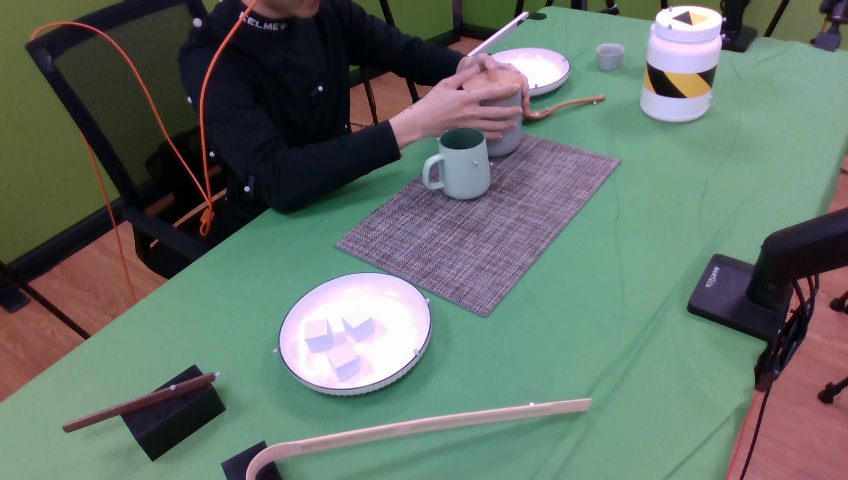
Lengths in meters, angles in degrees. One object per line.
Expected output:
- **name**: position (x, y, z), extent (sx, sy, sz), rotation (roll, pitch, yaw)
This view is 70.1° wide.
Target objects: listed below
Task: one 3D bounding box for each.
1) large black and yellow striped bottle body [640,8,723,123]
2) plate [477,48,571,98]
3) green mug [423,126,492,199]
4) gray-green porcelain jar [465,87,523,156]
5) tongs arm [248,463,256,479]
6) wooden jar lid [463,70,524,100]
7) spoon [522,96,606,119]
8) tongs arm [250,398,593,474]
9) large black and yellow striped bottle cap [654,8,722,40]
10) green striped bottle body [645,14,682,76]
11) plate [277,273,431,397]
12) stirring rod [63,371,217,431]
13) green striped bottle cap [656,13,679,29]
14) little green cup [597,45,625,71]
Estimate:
- **large black and yellow striped bottle body**: position (0.493, -0.334, 1.161), extent (0.131, 0.185, 0.130), rotation (-4, 41, 4)
- **plate**: position (0.223, -0.371, 1.357), extent (0.209, 0.038, 0.208), rotation (-4, 41, 4)
- **green mug**: position (0.055, -0.126, 1.039), extent (0.126, 0.105, 0.091), rotation (-25, 44, -18)
- **gray-green porcelain jar**: position (0.131, -0.231, 1.131), extent (0.106, 0.127, 0.105), rotation (-3, 41, 3)
- **tongs arm**: position (0.012, 0.262, 0.615), extent (0.385, 0.026, 0.050), rotation (2, 42, -2)
- **wooden jar lid**: position (0.125, -0.275, 1.091), extent (0.108, 0.021, 0.108), rotation (-5, 38, 5)
- **spoon**: position (0.291, -0.277, 1.249), extent (0.194, 0.022, 0.041), rotation (-17, 24, -11)
- **tongs arm**: position (0.008, 0.212, 0.675), extent (0.389, 0.028, 0.028), rotation (-5, 46, -11)
- **large black and yellow striped bottle cap**: position (0.483, -0.397, 1.108), extent (0.115, 0.019, 0.114), rotation (-3, 41, 3)
- **green striped bottle body**: position (0.520, -0.424, 1.312), extent (0.063, 0.120, 0.063), rotation (-4, 41, 4)
- **plate**: position (-0.091, 0.129, 0.821), extent (0.207, 0.039, 0.206), rotation (-4, 40, 4)
- **stirring rod**: position (-0.337, 0.192, 0.723), extent (0.177, 0.014, 0.005), rotation (-18, 43, -12)
- **green striped bottle cap**: position (0.515, -0.463, 1.278), extent (0.044, 0.020, 0.044), rotation (-6, 42, 6)
- **little green cup**: position (0.423, -0.413, 1.375), extent (0.061, 0.039, 0.061), rotation (-3, 41, 3)
